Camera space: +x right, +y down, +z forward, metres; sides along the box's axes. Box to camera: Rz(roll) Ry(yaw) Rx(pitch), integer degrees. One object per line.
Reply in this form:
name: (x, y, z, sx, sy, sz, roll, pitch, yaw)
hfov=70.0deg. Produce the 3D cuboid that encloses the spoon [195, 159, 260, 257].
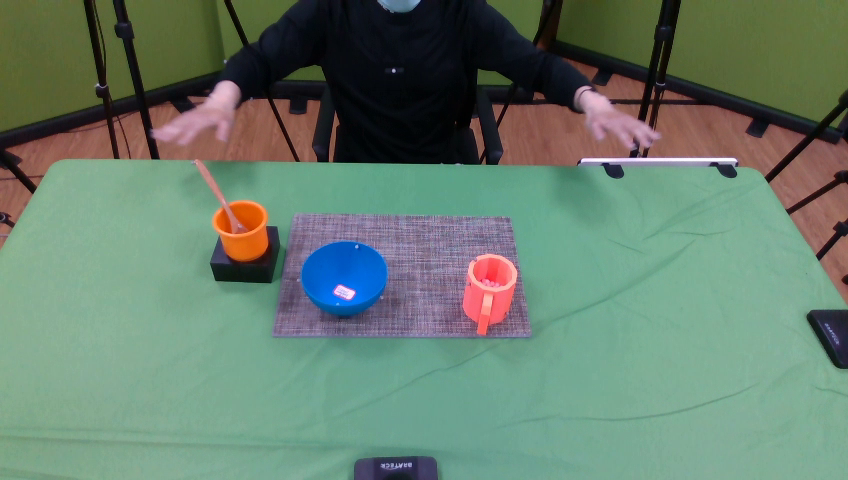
spoon: (-0.348, -0.057, 1.069, 0.041, 0.194, 0.021, -31, 12, -25)

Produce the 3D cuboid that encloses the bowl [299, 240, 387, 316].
bowl: (-0.139, 0.081, 1.064, 0.151, 0.077, 0.150, 2, 46, -1)

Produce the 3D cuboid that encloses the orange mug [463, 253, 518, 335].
orange mug: (0.112, 0.098, 1.050, 0.083, 0.101, 0.125, 10, 42, 6)
